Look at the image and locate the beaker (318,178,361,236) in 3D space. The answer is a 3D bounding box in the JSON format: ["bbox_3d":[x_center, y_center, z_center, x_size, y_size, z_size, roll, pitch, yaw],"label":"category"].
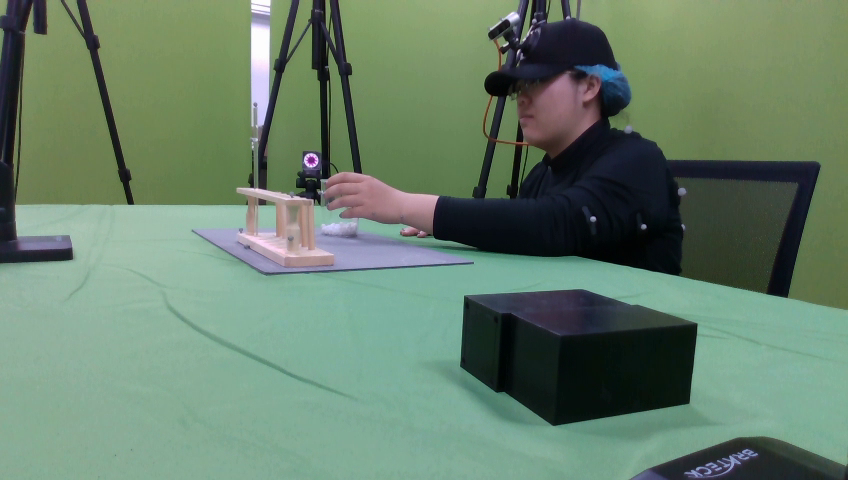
[{"bbox_3d":[-0.150,-0.059,1.089,0.083,0.100,0.074,10,11,40],"label":"beaker"}]

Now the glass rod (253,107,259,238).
[{"bbox_3d":[-0.254,-0.101,0.912,0.008,0.199,0.008,1,4,0],"label":"glass rod"}]

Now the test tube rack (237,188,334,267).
[{"bbox_3d":[-0.202,-0.024,0.855,0.067,0.085,0.241,-1,8,-30],"label":"test tube rack"}]
